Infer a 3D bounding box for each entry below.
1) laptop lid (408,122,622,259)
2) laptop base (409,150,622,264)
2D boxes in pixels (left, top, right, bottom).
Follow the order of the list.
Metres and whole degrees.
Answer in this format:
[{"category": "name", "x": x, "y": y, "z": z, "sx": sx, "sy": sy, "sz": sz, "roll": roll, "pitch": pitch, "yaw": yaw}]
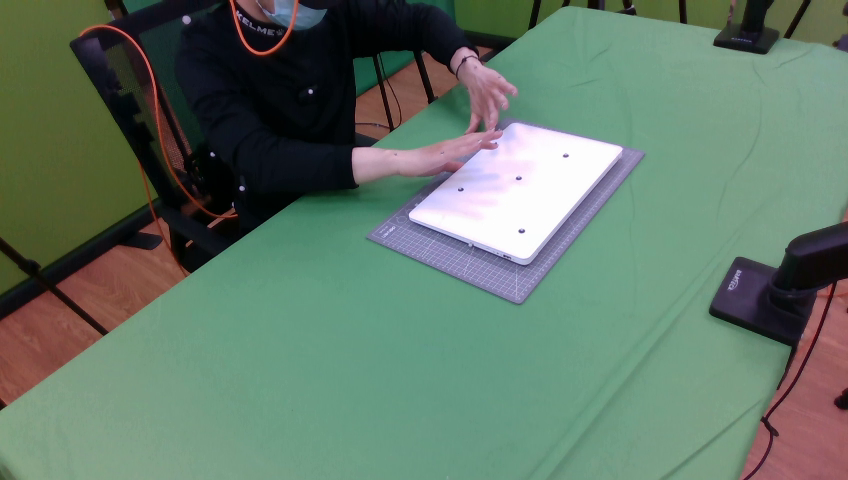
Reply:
[{"category": "laptop lid", "x": 0.165, "y": -0.105, "z": 1.050, "sx": 0.240, "sy": 0.013, "sz": 0.358, "roll": 22, "pitch": 48, "yaw": 33}, {"category": "laptop base", "x": 0.168, "y": -0.095, "z": 1.057, "sx": 0.233, "sy": 0.023, "sz": 0.355, "roll": 20, "pitch": 47, "yaw": 33}]
